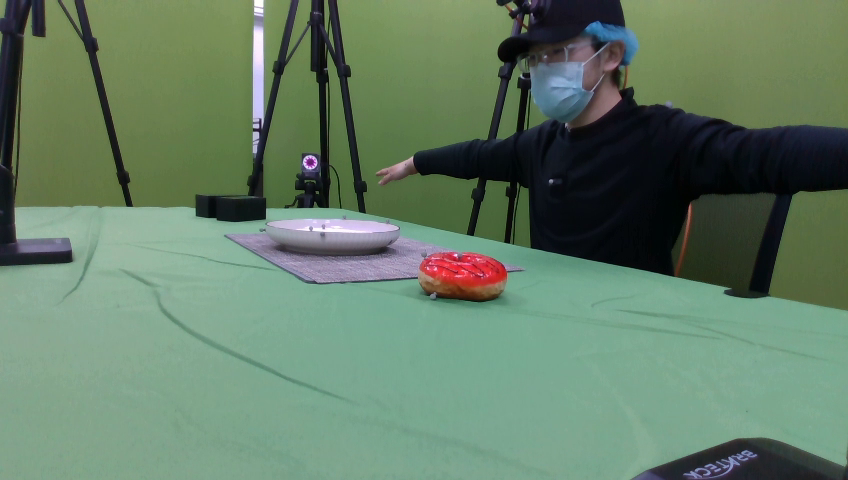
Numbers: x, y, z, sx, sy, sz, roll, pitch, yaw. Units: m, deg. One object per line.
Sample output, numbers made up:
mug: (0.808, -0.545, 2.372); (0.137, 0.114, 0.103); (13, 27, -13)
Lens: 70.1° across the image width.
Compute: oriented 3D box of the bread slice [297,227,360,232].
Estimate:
bread slice: (-0.142, -0.005, 0.939); (0.131, 0.019, 0.105); (8, 8, 33)

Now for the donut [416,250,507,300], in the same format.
donut: (0.041, 0.038, 0.650); (0.099, 0.048, 0.099); (4, 9, 0)

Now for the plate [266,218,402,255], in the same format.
plate: (-0.138, -0.006, 0.941); (0.208, 0.039, 0.207); (2, 7, 0)
